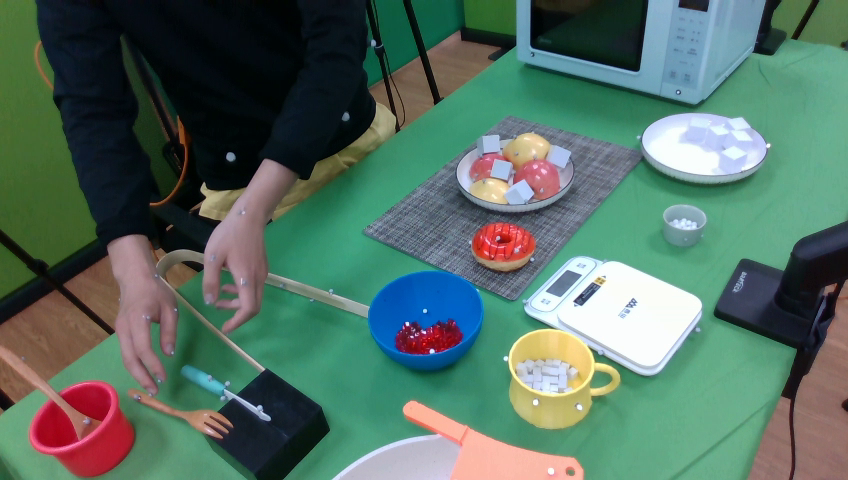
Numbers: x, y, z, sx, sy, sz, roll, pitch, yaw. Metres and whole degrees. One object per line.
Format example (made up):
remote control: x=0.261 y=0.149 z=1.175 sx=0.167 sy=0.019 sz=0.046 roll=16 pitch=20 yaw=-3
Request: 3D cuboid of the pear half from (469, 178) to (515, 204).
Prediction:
pear half: x=0.115 y=-0.090 z=1.036 sx=0.087 sy=0.031 sz=0.071 roll=28 pitch=37 yaw=32

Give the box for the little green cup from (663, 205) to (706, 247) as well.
little green cup: x=0.396 y=-0.020 z=0.926 sx=0.061 sy=0.039 sz=0.061 roll=-4 pitch=40 yaw=4

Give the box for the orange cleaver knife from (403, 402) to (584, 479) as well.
orange cleaver knife: x=0.062 y=0.222 z=0.609 sx=0.210 sy=0.012 sz=0.077 roll=15 pitch=48 yaw=25

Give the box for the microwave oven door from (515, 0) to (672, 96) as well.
microwave oven door: x=0.343 y=-0.454 z=1.259 sx=0.353 sy=0.245 sz=0.039 roll=26 pitch=51 yaw=33

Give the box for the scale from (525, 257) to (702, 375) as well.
scale: x=0.254 y=0.091 z=0.821 sx=0.199 sy=0.032 sz=0.149 roll=28 pitch=51 yaw=35

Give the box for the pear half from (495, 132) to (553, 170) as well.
pear half: x=0.174 y=-0.167 z=1.094 sx=0.109 sy=0.056 sz=0.076 roll=15 pitch=53 yaw=30

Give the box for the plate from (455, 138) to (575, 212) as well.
plate: x=0.159 y=-0.111 z=1.063 sx=0.209 sy=0.038 sz=0.208 roll=-4 pitch=40 yaw=4

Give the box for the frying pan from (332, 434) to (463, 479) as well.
frying pan: x=-0.089 y=0.306 z=0.564 sx=0.487 sy=0.103 sz=0.306 roll=10 pitch=41 yaw=7

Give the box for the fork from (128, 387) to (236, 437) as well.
fork: x=-0.305 y=0.207 z=0.744 sx=0.206 sy=0.019 sz=0.028 roll=3 pitch=39 yaw=36

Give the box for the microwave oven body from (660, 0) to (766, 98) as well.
microwave oven body: x=0.472 y=-0.513 z=1.317 sx=0.438 sy=0.261 sz=0.327 roll=26 pitch=51 yaw=34

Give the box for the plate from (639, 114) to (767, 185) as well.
plate: x=0.489 y=-0.157 z=1.074 sx=0.207 sy=0.039 sz=0.206 roll=-4 pitch=40 yaw=4

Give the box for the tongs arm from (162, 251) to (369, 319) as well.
tongs arm: x=-0.247 y=0.073 z=0.917 sx=0.382 sy=0.026 sz=0.051 roll=16 pitch=49 yaw=26

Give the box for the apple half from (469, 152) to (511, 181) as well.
apple half: x=0.119 y=-0.138 z=1.087 sx=0.081 sy=0.033 sz=0.081 roll=-1 pitch=45 yaw=1

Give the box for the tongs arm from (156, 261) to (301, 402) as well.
tongs arm: x=-0.294 y=0.123 z=0.870 sx=0.384 sy=0.028 sz=0.028 roll=28 pitch=59 yaw=35

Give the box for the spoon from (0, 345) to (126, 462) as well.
spoon: x=-0.434 y=0.192 z=0.720 sx=0.194 sy=0.021 sz=0.042 roll=47 pitch=53 yaw=-7

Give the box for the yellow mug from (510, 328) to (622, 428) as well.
yellow mug: x=0.168 y=0.164 z=0.722 sx=0.130 sy=0.064 sz=0.099 roll=0 pitch=40 yaw=8

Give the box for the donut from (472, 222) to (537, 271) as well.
donut: x=0.123 y=0.009 z=0.923 sx=0.099 sy=0.048 sz=0.098 roll=-4 pitch=38 yaw=3

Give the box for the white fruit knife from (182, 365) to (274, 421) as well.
white fruit knife: x=-0.245 y=0.188 z=0.747 sx=0.205 sy=0.027 sz=0.016 roll=9 pitch=41 yaw=41

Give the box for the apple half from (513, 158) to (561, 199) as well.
apple half: x=0.193 y=-0.111 z=1.031 sx=0.080 sy=0.053 sz=0.075 roll=11 pitch=41 yaw=26

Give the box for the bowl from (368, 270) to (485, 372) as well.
bowl: x=0.007 y=0.118 z=0.791 sx=0.151 sy=0.077 sz=0.150 roll=-5 pitch=39 yaw=4

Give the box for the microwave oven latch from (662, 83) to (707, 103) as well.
microwave oven latch: x=0.517 y=-0.296 z=1.204 sx=0.078 sy=0.029 sz=0.030 roll=27 pitch=52 yaw=35
